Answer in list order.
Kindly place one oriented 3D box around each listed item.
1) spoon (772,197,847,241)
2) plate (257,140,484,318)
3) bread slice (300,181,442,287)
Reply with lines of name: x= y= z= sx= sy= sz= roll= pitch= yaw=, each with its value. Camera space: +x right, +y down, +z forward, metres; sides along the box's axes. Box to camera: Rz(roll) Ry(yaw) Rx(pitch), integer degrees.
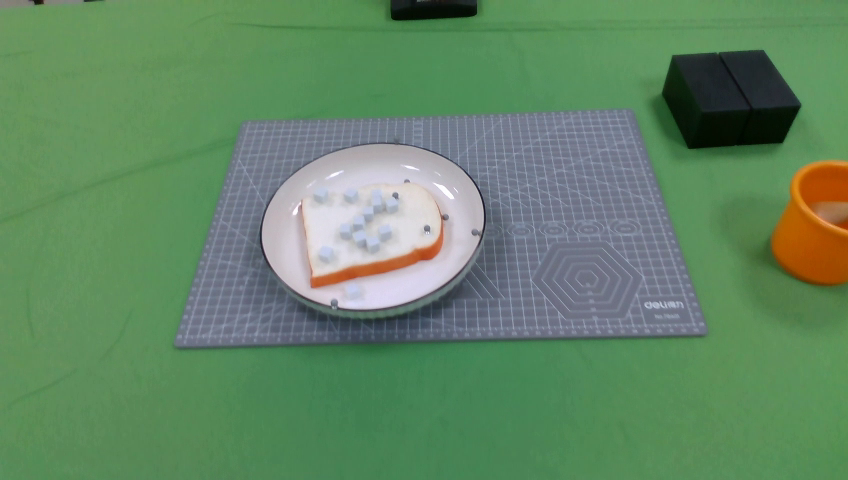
spoon: x=0.382 y=-0.037 z=0.489 sx=0.193 sy=0.022 sz=0.041 roll=-19 pitch=38 yaw=43
plate: x=-0.048 y=-0.012 z=0.566 sx=0.209 sy=0.038 sz=0.207 roll=-1 pitch=51 yaw=2
bread slice: x=-0.050 y=-0.014 z=0.572 sx=0.132 sy=0.019 sz=0.103 roll=-13 pitch=51 yaw=-7
